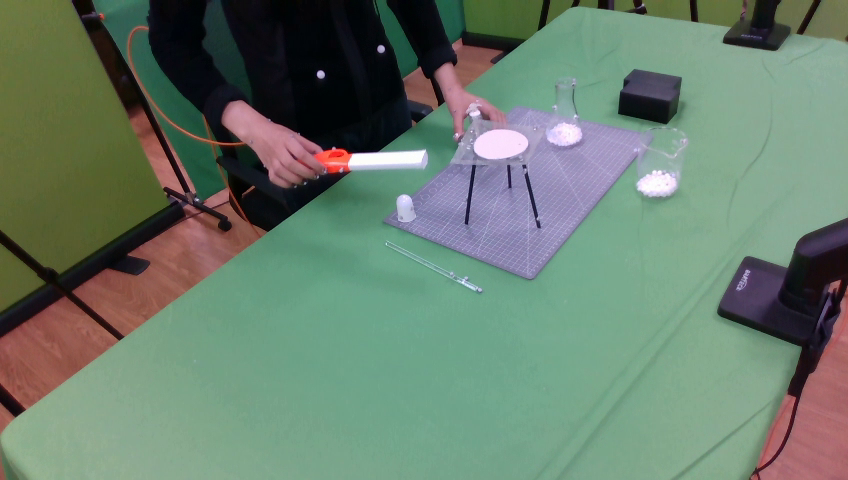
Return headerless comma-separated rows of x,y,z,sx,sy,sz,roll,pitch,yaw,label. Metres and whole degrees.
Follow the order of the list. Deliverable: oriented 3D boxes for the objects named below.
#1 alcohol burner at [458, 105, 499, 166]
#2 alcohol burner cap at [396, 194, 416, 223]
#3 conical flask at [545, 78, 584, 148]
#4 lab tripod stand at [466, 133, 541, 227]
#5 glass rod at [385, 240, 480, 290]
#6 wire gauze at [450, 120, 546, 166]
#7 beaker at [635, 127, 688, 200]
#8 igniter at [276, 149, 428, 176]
0.099,-0.199,1.125,0.078,0.120,0.077,-6,41,6,alcohol burner
-0.033,-0.056,1.036,0.034,0.048,0.033,-6,40,6,alcohol burner cap
0.264,-0.241,1.135,0.075,0.122,0.075,-6,40,5,conical flask
0.129,-0.099,0.985,0.148,0.132,0.147,-7,38,6,lab tripod stand
0.009,0.037,0.950,0.198,0.008,0.008,26,52,35,glass rod
0.117,-0.151,0.943,0.121,0.011,0.125,9,43,21,wire gauze
0.388,-0.122,0.994,0.074,0.101,0.083,-8,40,2,beaker
-0.124,-0.127,0.972,0.275,0.025,0.057,1,47,23,igniter
